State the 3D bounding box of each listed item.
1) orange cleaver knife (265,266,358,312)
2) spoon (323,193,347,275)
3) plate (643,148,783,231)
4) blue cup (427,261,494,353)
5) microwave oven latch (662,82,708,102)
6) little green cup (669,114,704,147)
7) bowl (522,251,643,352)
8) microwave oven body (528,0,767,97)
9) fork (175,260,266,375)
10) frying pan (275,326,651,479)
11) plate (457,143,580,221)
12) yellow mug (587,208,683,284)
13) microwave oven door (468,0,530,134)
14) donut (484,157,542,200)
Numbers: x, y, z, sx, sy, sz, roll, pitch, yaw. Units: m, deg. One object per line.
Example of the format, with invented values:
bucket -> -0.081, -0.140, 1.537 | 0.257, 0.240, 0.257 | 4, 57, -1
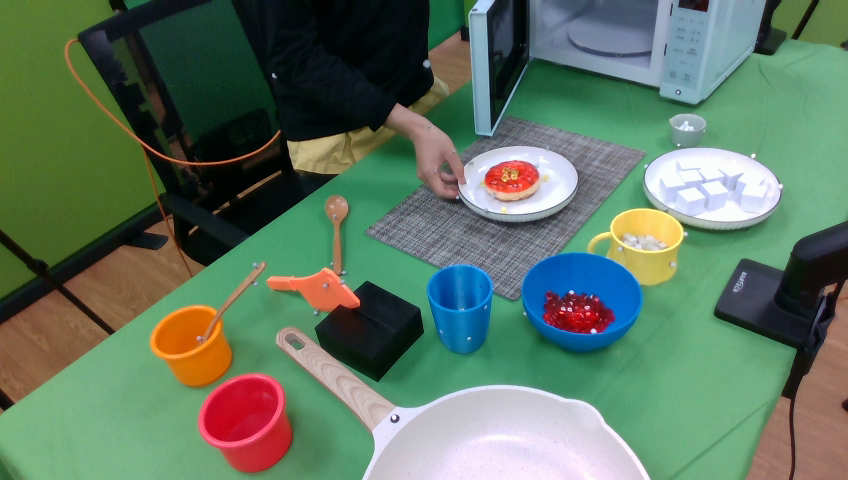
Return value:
orange cleaver knife -> -0.164, 0.073, 0.864 | 0.210, 0.077, 0.012 | -6, 31, 50
spoon -> -0.148, -0.014, 1.008 | 0.042, 0.022, 0.192 | 1, 40, -9
plate -> 0.465, -0.080, 0.986 | 0.207, 0.039, 0.206 | -4, 41, 4
blue cup -> 0.050, 0.095, 0.792 | 0.092, 0.100, 0.092 | -3, 42, 3
microwave oven latch -> 0.517, -0.298, 1.202 | 0.078, 0.029, 0.030 | 27, 52, 34
little green cup -> 0.485, -0.203, 1.123 | 0.061, 0.039, 0.061 | -5, 40, 5
bowl -> 0.204, 0.093, 0.792 | 0.151, 0.077, 0.150 | -4, 40, 4
microwave oven body -> 0.473, -0.516, 1.313 | 0.438, 0.261, 0.327 | 26, 51, 34
fork -> -0.268, 0.102, 0.792 | 0.207, 0.019, 0.028 | -51, 41, 16
frying pan -> 0.004, 0.229, 0.641 | 0.484, 0.103, 0.308 | 34, 54, 28
plate -> 0.162, -0.097, 1.042 | 0.209, 0.038, 0.208 | -4, 40, 4
yellow mug -> 0.305, 0.009, 0.884 | 0.131, 0.064, 0.099 | -4, 40, 5
microwave oven door -> 0.161, -0.413, 1.231 | 0.039, 0.245, 0.355 | 9, 43, 18
donut -> 0.153, -0.108, 1.039 | 0.099, 0.048, 0.098 | -5, 37, 5
